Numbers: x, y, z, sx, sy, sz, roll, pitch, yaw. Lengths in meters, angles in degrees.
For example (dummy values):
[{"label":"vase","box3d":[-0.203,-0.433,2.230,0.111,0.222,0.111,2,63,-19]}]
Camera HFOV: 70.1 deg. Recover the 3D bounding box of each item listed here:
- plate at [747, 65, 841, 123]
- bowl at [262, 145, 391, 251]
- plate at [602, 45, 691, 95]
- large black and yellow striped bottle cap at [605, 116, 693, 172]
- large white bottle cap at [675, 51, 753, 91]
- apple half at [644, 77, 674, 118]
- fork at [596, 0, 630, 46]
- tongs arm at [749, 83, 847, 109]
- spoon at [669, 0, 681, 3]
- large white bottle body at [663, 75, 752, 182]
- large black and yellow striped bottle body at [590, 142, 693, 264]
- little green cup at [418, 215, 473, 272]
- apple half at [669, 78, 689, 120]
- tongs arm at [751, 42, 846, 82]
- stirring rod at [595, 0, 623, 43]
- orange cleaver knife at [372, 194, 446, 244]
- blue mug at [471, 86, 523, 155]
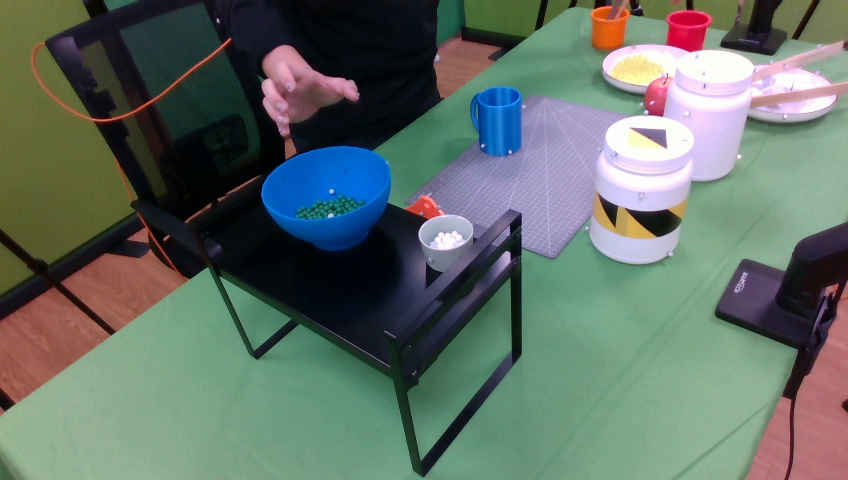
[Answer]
[{"label":"plate","box3d":[0.694,-0.282,1.189,0.207,0.039,0.206,-4,40,4]},{"label":"bowl","box3d":[-0.108,-0.040,0.723,0.151,0.077,0.150,-4,40,4]},{"label":"plate","box3d":[0.494,-0.366,1.317,0.209,0.038,0.208,-4,40,4]},{"label":"large black and yellow striped bottle cap","box3d":[0.309,-0.134,0.833,0.115,0.019,0.114,-5,40,5]},{"label":"large white bottle cap","box3d":[0.463,-0.271,0.967,0.115,0.018,0.114,-4,40,4]},{"label":"apple half","box3d":[0.463,-0.279,1.194,0.053,0.075,0.081,8,46,24]},{"label":"fork","box3d":[0.481,-0.556,1.452,0.028,0.019,0.207,40,103,40]},{"label":"tongs arm","box3d":[0.734,-0.280,1.133,0.388,0.028,0.028,-9,47,-5]},{"label":"spoon","box3d":[0.571,-0.604,1.300,0.041,0.194,0.022,36,60,23]},{"label":"large white bottle body","box3d":[0.472,-0.207,1.022,0.130,0.185,0.130,-4,41,4]},{"label":"large black and yellow striped bottle body","box3d":[0.317,-0.071,0.889,0.131,0.185,0.130,-4,41,4]},{"label":"little green cup","box3d":[0.026,0.005,0.678,0.061,0.039,0.061,-4,40,4]},{"label":"apple half","box3d":[0.498,-0.273,1.180,0.032,0.082,0.081,7,42,25]},{"label":"tongs arm","box3d":[0.708,-0.331,1.193,0.386,0.026,0.050,-18,45,-16]},{"label":"stirring rod","box3d":[0.460,-0.556,1.460,0.014,0.006,0.176,30,94,24]},{"label":"orange cleaver knife","box3d":[-0.032,-0.026,0.964,0.210,0.077,0.012,-9,29,51]},{"label":"blue mug","box3d":[0.135,-0.235,1.163,0.082,0.106,0.115,-36,48,-29]}]
